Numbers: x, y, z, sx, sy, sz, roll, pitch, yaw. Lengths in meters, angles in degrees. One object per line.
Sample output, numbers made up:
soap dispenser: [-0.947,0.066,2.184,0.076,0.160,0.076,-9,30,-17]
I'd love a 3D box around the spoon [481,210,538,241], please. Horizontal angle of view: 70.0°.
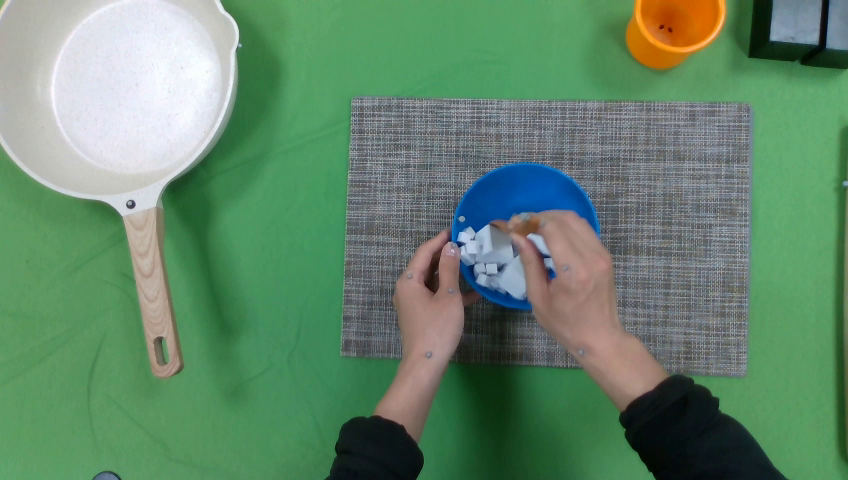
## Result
spoon: [0.080,-0.012,0.557,0.041,0.193,0.021,30,90,-1]

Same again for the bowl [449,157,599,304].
bowl: [0.104,-0.008,0.647,0.151,0.077,0.151,0,88,4]

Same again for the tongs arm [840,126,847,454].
tongs arm: [0.466,0.054,0.649,0.028,0.028,0.387,1,88,3]

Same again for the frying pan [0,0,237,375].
frying pan: [-0.324,-0.091,0.672,0.307,0.103,0.485,-14,79,4]
